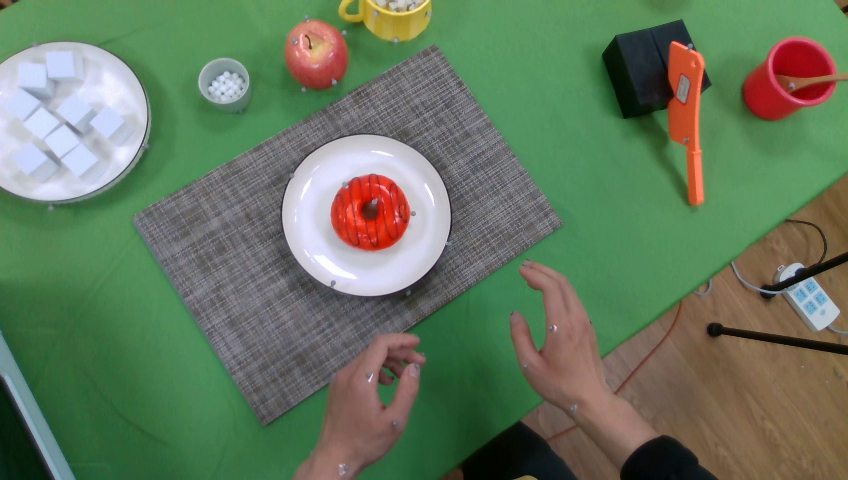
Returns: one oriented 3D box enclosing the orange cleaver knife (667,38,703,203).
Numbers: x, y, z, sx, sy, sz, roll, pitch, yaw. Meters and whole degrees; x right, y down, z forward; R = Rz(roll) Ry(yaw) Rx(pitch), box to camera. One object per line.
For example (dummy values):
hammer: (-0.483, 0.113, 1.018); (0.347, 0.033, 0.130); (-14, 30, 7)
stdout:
orange cleaver knife: (0.339, -0.154, 0.792); (0.012, 0.076, 0.213); (-14, 113, -6)

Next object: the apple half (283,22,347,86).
apple half: (-0.144, -0.226, 0.765); (0.081, 0.074, 0.053); (31, 82, -3)

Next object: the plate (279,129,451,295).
plate: (-0.072, -0.034, 0.750); (0.209, 0.038, 0.208); (1, 79, -5)

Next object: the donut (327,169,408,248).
donut: (-0.069, -0.037, 0.739); (0.099, 0.048, 0.098); (1, 81, -5)

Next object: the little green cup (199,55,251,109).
little green cup: (-0.249, -0.197, 0.766); (0.061, 0.039, 0.061); (1, 79, -5)

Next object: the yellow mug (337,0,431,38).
yellow mug: (-0.052, -0.322, 0.796); (0.131, 0.064, 0.099); (-22, 81, -9)

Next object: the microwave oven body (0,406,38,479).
microwave oven body: (-0.535, 0.272, 0.531); (0.326, 0.260, 0.440); (-30, 84, -11)

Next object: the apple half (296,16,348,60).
apple half: (-0.125, -0.259, 0.772); (0.081, 0.081, 0.032); (30, 82, 1)

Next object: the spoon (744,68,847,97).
spoon: (0.529, -0.214, 0.794); (0.192, 0.022, 0.041); (3, 69, 40)

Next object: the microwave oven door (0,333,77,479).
microwave oven door: (-0.389, 0.236, 0.547); (0.039, 0.244, 0.354); (-31, 83, -11)

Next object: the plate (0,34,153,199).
plate: (-0.435, -0.148, 0.738); (0.208, 0.039, 0.206); (1, 79, -5)
